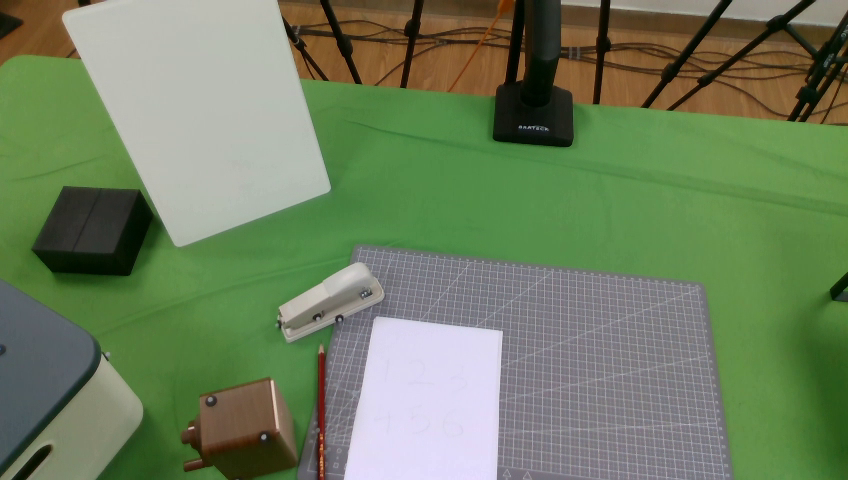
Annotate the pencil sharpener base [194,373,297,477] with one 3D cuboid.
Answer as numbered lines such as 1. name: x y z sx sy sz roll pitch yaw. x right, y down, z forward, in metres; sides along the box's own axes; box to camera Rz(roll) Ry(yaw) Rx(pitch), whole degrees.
1. pencil sharpener base: -0.175 0.186 0.602 0.077 0.108 0.060 -12 56 -9

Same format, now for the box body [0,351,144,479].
1. box body: -0.499 0.155 0.583 0.362 0.162 0.253 24 58 15

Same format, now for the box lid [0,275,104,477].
1. box lid: -0.500 0.111 0.522 0.370 0.015 0.262 25 58 14

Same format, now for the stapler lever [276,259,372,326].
1. stapler lever: -0.117 0.060 0.710 0.118 0.040 0.026 -24 55 -13

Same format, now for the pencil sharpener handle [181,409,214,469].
1. pencil sharpener handle: -0.223 0.194 0.580 0.031 0.068 0.035 -12 35 -9

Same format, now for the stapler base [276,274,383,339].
1. stapler base: -0.114 0.073 0.731 0.131 0.024 0.041 -24 55 -13

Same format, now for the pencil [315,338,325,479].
1. pencil: -0.113 0.193 0.657 0.012 0.012 0.192 -5 55 -4

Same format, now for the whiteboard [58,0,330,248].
1. whiteboard: -0.277 -0.184 0.775 0.217 0.308 0.142 -22 39 -15
